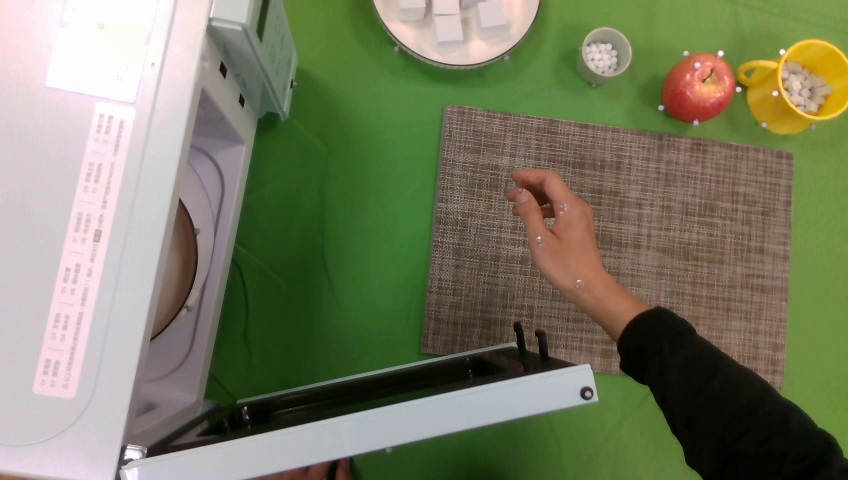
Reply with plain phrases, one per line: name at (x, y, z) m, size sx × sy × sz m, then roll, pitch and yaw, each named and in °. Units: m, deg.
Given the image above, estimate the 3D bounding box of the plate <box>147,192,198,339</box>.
plate at (-0.331, 0.013, 0.604) m, size 0.209 × 0.038 × 0.208 m, roll 1°, pitch 85°, yaw -6°

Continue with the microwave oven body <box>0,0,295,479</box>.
microwave oven body at (-0.328, -0.051, 0.557) m, size 0.326 × 0.260 × 0.440 m, roll 10°, pitch 85°, yaw -5°

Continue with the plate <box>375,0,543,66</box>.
plate at (0.040, -0.307, 0.733) m, size 0.208 × 0.039 × 0.207 m, roll 1°, pitch 85°, yaw -6°

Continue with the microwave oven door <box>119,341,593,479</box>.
microwave oven door at (-0.053, 0.151, 0.563) m, size 0.356 × 0.244 × 0.039 m, roll -11°, pitch 84°, yaw -7°

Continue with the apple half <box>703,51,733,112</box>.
apple half at (0.351, -0.194, 0.738) m, size 0.033 × 0.081 × 0.081 m, roll -20°, pitch 87°, yaw -2°

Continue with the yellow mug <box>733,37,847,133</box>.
yellow mug at (0.449, -0.195, 0.752) m, size 0.131 × 0.064 × 0.099 m, roll 18°, pitch 83°, yaw -3°

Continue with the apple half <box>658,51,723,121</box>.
apple half at (0.314, -0.180, 0.734) m, size 0.053 × 0.074 × 0.081 m, roll -20°, pitch 90°, yaw -3°

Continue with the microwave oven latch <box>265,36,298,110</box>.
microwave oven latch at (-0.163, -0.190, 0.683) m, size 0.030 × 0.029 × 0.079 m, roll 12°, pitch 85°, yaw -5°

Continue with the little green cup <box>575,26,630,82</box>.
little green cup at (0.216, -0.226, 0.745) m, size 0.061 × 0.038 × 0.061 m, roll 1°, pitch 84°, yaw -5°

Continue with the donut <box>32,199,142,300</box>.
donut at (-0.327, 0.010, 0.591) m, size 0.099 × 0.048 × 0.098 m, roll 1°, pitch 82°, yaw -6°
